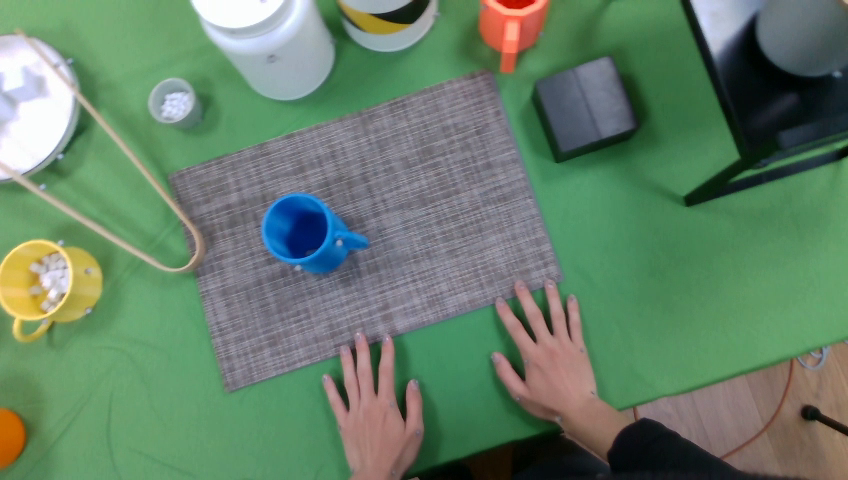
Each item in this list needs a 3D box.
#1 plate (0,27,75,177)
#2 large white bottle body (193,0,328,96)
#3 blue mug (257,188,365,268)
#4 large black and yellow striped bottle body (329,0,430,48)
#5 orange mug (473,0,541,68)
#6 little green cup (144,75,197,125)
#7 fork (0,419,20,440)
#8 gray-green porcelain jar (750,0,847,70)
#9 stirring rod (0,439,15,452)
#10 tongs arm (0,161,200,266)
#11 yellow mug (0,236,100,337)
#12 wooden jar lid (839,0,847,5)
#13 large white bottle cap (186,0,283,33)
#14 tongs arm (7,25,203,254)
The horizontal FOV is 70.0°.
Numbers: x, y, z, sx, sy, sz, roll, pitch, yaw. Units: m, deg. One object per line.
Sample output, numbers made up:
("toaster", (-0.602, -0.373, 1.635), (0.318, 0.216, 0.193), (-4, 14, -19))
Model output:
("plate", (-0.573, -0.184, 0.826), (0.207, 0.039, 0.207), (0, 83, 3))
("large white bottle body", (-0.200, -0.271, 0.742), (0.130, 0.185, 0.130), (0, 81, 4))
("blue mug", (-0.130, -0.010, 0.739), (0.116, 0.106, 0.082), (7, 82, 4))
("large black and yellow striped bottle body", (-0.063, -0.336, 0.745), (0.131, 0.184, 0.130), (-1, 81, 4))
("orange mug", (0.104, -0.291, 0.772), (0.083, 0.101, 0.125), (5, 78, 5))
("little green cup", (-0.337, -0.185, 0.812), (0.061, 0.039, 0.061), (0, 83, 3))
("fork", (-0.600, 0.237, 0.712), (0.209, 0.018, 0.028), (3, 78, -40))
("gray-green porcelain jar", (0.371, -0.224, 0.553), (0.106, 0.127, 0.105), (-1, 82, 4))
("stirring rod", (-0.587, 0.252, 0.712), (0.006, 0.177, 0.014), (-35, 60, 41))
("tongs arm", (-0.468, -0.069, 0.784), (0.385, 0.026, 0.050), (34, 82, 0))
("yellow mug", (-0.487, 0.063, 0.773), (0.100, 0.064, 0.130), (20, 85, 5))
("wooden jar lid", (0.367, -0.234, 0.491), (0.108, 0.021, 0.108), (0, 84, 4))
("large white bottle cap", (-0.206, -0.283, 0.659), (0.115, 0.018, 0.114), (0, 82, 4))
("tongs arm", (-0.415, -0.134, 0.793), (0.028, 0.028, 0.387), (-42, 89, -11))
